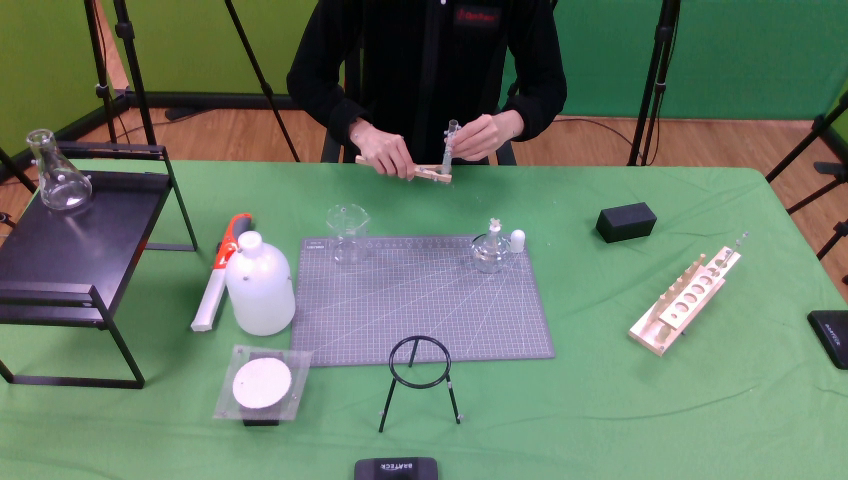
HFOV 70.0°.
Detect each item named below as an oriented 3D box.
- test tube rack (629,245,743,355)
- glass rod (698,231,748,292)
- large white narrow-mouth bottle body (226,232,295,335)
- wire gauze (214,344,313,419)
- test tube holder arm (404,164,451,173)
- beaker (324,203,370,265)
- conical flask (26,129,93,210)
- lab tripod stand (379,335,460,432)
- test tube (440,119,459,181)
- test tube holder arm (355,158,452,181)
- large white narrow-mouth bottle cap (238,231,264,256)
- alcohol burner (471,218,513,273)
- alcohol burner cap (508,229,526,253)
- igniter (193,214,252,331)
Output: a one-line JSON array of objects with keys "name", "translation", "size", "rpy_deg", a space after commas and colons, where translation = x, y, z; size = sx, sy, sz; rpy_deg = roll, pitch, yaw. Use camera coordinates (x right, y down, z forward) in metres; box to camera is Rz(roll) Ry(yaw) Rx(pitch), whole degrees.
[{"name": "test tube rack", "translation": [0.474, 0.095, 1.091], "size": [0.242, 0.085, 0.066], "rpy_deg": [-34, 56, -31]}, {"name": "glass rod", "translation": [0.514, 0.044, 1.051], "size": [0.008, 0.200, 0.008], "rpy_deg": [1, 55, -1]}, {"name": "large white narrow-mouth bottle body", "translation": [-0.270, 0.065, 0.995], "size": [0.102, 0.195, 0.101], "rpy_deg": [2, 46, -2]}, {"name": "wire gauze", "translation": [-0.241, 0.213, 0.915], "size": [0.121, 0.011, 0.124], "rpy_deg": [5, 46, 1]}, {"name": "test tube holder arm", "translation": [0.007, -0.130, 1.113], "size": [0.088, 0.015, 0.010], "rpy_deg": [-4, 50, -12]}, {"name": "beaker", "translation": [-0.142, -0.009, 1.137], "size": [0.084, 0.101, 0.073], "rpy_deg": [-3, 47, -7]}, {"name": "conical flask", "translation": [-0.575, -0.113, 0.946], "size": [0.075, 0.122, 0.075], "rpy_deg": [2, 46, -2]}, {"name": "lab tripod stand", "translation": [-0.010, 0.214, 0.911], "size": [0.148, 0.132, 0.147], "rpy_deg": [1, 45, 0]}, {"name": "test tube", "translation": [0.043, -0.156, 1.068], "size": [0.017, 0.151, 0.017], "rpy_deg": [3, 55, -5]}, {"name": "test tube holder arm", "translation": [-0.038, -0.129, 1.106], "size": [0.178, 0.015, 0.013], "rpy_deg": [8, 47, -1]}, {"name": "large white narrow-mouth bottle cap", "translation": [-0.266, 0.006, 0.932], "size": [0.038, 0.024, 0.037], "rpy_deg": [2, 46, -2]}, {"name": "alcohol burner", "translation": [0.128, 0.005, 1.132], "size": [0.078, 0.120, 0.077], "rpy_deg": [0, 47, 0]}, {"name": "alcohol burner cap", "translation": [0.185, -0.002, 1.192], "size": [0.034, 0.048, 0.033], "rpy_deg": [3, 44, -2]}, {"name": "igniter", "translation": [-0.368, 0.050, 1.119], "size": [0.057, 0.025, 0.275], "rpy_deg": [-3, 46, 8]}]
